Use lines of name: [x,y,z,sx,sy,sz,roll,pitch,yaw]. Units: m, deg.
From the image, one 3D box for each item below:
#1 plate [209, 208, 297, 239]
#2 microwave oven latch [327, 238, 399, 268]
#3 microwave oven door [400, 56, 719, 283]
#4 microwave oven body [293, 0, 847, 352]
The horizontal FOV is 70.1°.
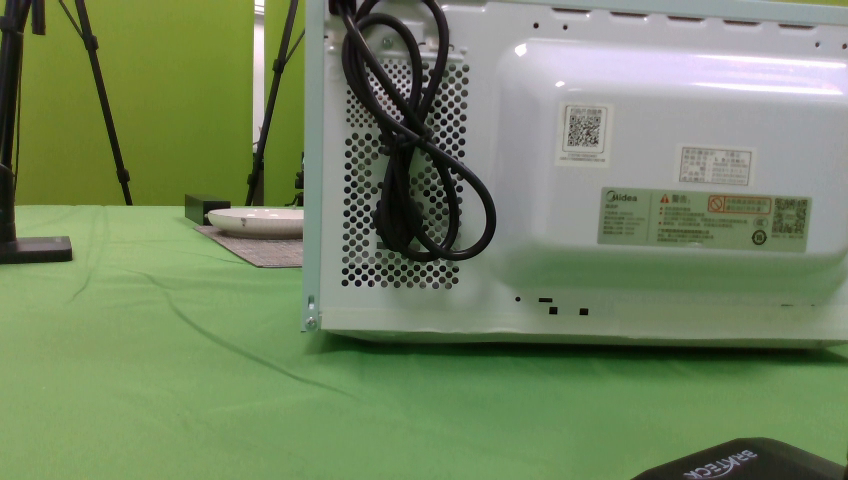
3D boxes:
plate: [-0.271,-0.029,1.074,0.208,0.039,0.207,3,7,0]
microwave oven latch: [-0.069,0.015,0.694,0.079,0.029,0.030,3,7,-3]
microwave oven door: [0.155,-0.077,0.698,0.356,0.243,0.039,2,8,-5]
microwave oven body: [0.122,-0.055,0.550,0.442,0.260,0.325,3,7,-5]
